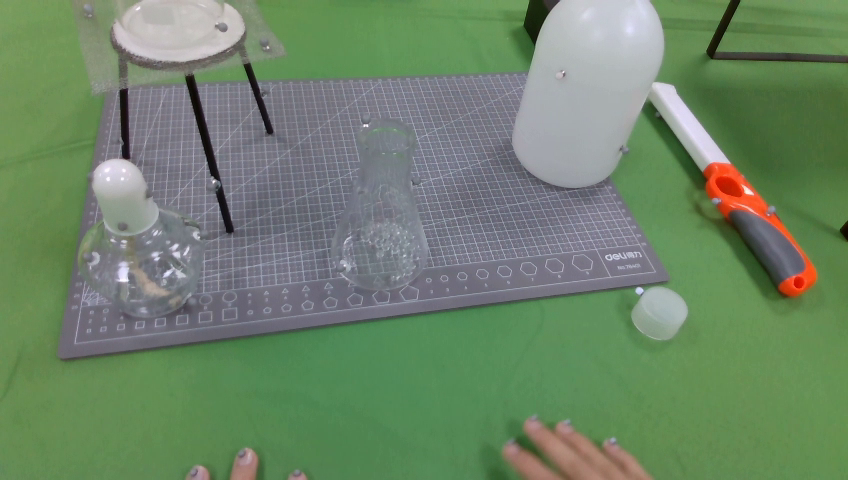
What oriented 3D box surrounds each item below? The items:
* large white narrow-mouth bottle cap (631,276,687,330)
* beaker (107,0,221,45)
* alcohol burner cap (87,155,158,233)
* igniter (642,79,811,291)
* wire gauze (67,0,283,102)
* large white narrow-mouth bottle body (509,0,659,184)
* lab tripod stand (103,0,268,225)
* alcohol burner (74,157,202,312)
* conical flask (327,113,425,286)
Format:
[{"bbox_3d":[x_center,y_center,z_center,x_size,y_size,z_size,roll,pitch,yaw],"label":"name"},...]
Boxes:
[{"bbox_3d":[0.180,0.048,0.464,0.038,0.024,0.037,4,49,-4],"label":"large white narrow-mouth bottle cap"},{"bbox_3d":[-0.172,-0.183,0.380,0.084,0.101,0.073,-11,53,-17],"label":"beaker"},{"bbox_3d":[-0.182,-0.029,0.363,0.034,0.048,0.033,4,54,-6],"label":"alcohol burner cap"},{"bbox_3d":[0.275,-0.063,0.570,0.057,0.025,0.273,2,48,-20],"label":"igniter"},{"bbox_3d":[-0.173,-0.149,0.416,0.122,0.011,0.124,-18,58,-20],"label":"wire gauze"},{"bbox_3d":[0.137,-0.146,0.506,0.102,0.196,0.101,4,49,-4],"label":"large white narrow-mouth bottle body"},{"bbox_3d":[-0.176,-0.105,0.464,0.148,0.132,0.147,6,49,-6],"label":"lab tripod stand"},{"bbox_3d":[-0.187,-0.007,0.391,0.078,0.120,0.077,5,47,-6],"label":"alcohol burner"},{"bbox_3d":[-0.032,-0.030,0.428,0.075,0.123,0.074,4,49,-4],"label":"conical flask"}]
